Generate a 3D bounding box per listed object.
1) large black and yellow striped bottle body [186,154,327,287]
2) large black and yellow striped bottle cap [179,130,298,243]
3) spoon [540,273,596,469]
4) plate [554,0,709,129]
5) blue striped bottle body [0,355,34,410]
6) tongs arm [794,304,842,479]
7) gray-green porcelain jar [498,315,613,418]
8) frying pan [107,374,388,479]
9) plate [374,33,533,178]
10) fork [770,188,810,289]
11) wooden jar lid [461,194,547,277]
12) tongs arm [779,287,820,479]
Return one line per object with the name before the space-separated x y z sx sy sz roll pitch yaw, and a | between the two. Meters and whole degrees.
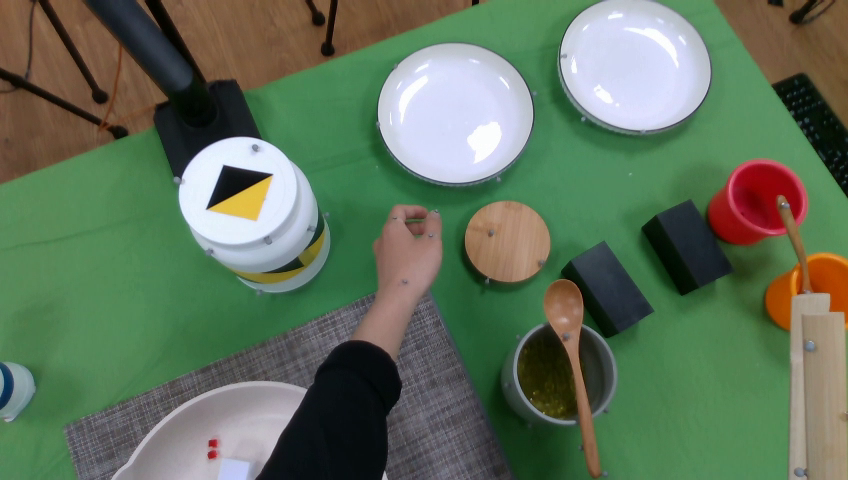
large black and yellow striped bottle body | -0.186 -0.029 0.683 0.131 0.185 0.130 0 73 -1
large black and yellow striped bottle cap | -0.184 -0.054 0.603 0.115 0.019 0.114 0 75 -1
spoon | 0.148 0.129 0.602 0.042 0.022 0.193 -6 78 -7
plate | 0.279 -0.243 0.829 0.209 0.038 0.208 0 74 -1
blue striped bottle body | -0.490 0.151 0.656 0.063 0.121 0.062 0 73 -1
tongs arm | 0.289 0.224 0.451 0.026 0.050 0.386 -6 102 14
gray-green porcelain jar | 0.139 0.143 0.671 0.106 0.127 0.105 0 74 -1
frying pan | -0.208 0.382 0.603 0.306 0.103 0.485 16 66 4
plate | 0.038 -0.175 0.805 0.208 0.039 0.206 0 74 -1
fork | 0.428 0.021 0.700 0.028 0.018 0.209 -36 122 -3
wooden jar lid | 0.101 -0.004 0.768 0.108 0.021 0.108 0 76 -1
tongs arm | 0.294 0.218 0.471 0.028 0.028 0.389 -8 106 10
